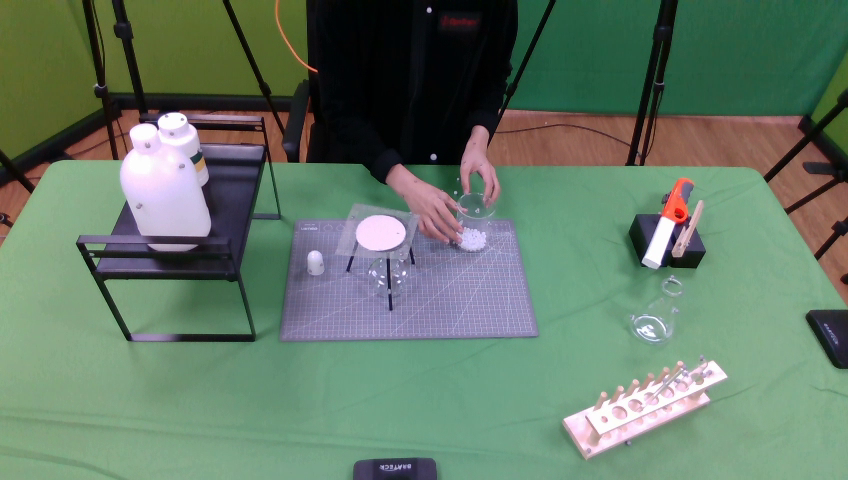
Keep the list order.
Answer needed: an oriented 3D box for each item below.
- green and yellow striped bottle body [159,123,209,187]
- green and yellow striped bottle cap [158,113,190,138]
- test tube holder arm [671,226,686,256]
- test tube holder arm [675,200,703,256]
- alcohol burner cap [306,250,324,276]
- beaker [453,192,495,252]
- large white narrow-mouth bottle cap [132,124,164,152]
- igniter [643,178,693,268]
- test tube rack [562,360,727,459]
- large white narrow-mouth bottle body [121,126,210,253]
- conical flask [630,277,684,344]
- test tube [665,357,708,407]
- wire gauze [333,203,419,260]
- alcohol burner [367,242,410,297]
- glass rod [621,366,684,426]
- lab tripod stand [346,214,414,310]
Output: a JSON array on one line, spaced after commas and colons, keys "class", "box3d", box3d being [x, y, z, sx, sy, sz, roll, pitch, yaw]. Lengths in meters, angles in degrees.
[{"class": "green and yellow striped bottle body", "box3d": [-0.395, -0.145, 0.989, 0.063, 0.120, 0.063, 2, 46, -2]}, {"class": "green and yellow striped bottle cap", "box3d": [-0.393, -0.180, 0.951, 0.045, 0.020, 0.045, 2, 44, -2]}, {"class": "test tube holder arm", "box3d": [0.494, 0.001, 1.166, 0.010, 0.015, 0.087, 1, 36, 42]}, {"class": "test tube holder arm", "box3d": [0.523, -0.025, 1.190, 0.013, 0.015, 0.178, 1, 36, 41]}, {"class": "alcohol burner cap", "box3d": [-0.204, 0.040, 1.125, 0.034, 0.048, 0.033, 2, 46, -2]}, {"class": "beaker", "box3d": [0.097, -0.034, 1.180, 0.074, 0.101, 0.084, 23, 48, 16]}, {"class": "large white narrow-mouth bottle cap", "box3d": [-0.371, -0.137, 0.813, 0.038, 0.024, 0.037, 3, 46, -3]}, {"class": "igniter", "box3d": [0.488, -0.042, 1.205, 0.057, 0.025, 0.276, 30, 51, 11]}, {"class": "test tube rack", "box3d": [0.341, 0.247, 0.940, 0.243, 0.085, 0.066, -16, 49, -19]}, {"class": "large white narrow-mouth bottle body", "box3d": [-0.378, -0.077, 0.875, 0.102, 0.195, 0.101, 3, 46, -3]}, {"class": "conical flask", "box3d": [0.408, 0.117, 1.045, 0.075, 0.122, 0.075, 2, 46, -2]}, {"class": "test tube", "box3d": [0.387, 0.215, 0.905, 0.017, 0.151, 0.017, 1, 52, -1]}, {"class": "wire gauze", "box3d": [-0.079, -0.014, 1.030, 0.121, 0.011, 0.124, 8, 45, 6]}, {"class": "alcohol burner", "box3d": [-0.064, 0.047, 1.080, 0.078, 0.120, 0.077, 1, 47, -1]}, {"class": "glass rod", "box3d": [0.322, 0.227, 0.866, 0.008, 0.200, 0.008, 5, 51, -7]}, {"class": "lab tripod stand", "box3d": [-0.075, 0.030, 1.082, 0.148, 0.132, 0.147, 1, 47, -1]}]
